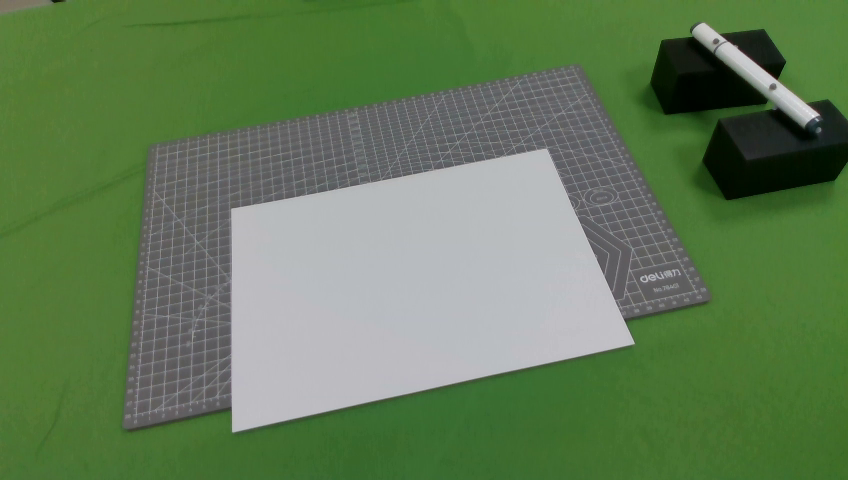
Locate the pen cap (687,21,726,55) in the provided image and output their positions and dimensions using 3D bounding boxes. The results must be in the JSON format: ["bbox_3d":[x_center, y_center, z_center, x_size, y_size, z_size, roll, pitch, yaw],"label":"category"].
[{"bbox_3d":[0.262,-0.188,0.564,0.017,0.017,0.038,-22,55,-11],"label":"pen cap"}]

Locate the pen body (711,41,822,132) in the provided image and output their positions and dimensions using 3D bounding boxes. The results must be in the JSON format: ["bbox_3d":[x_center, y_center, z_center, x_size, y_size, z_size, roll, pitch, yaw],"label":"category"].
[{"bbox_3d":[0.286,-0.143,0.529,0.017,0.017,0.142,-22,55,-10],"label":"pen body"}]
